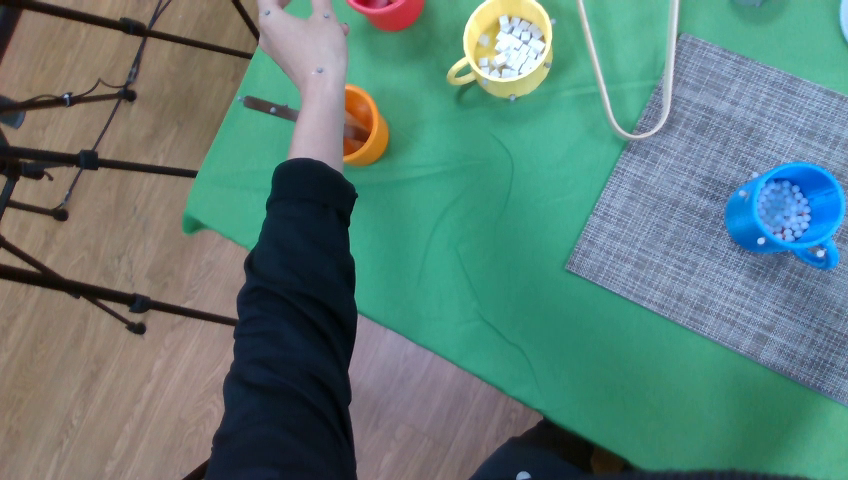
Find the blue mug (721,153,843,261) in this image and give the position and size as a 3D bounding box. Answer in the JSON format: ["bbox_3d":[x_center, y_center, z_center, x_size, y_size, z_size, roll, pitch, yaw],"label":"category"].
[{"bbox_3d":[0.372,-0.026,0.619,0.082,0.106,0.116,-39,81,8],"label":"blue mug"}]

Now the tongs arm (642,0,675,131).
[{"bbox_3d":[0.266,-0.318,0.673,0.028,0.028,0.388,1,95,4],"label":"tongs arm"}]

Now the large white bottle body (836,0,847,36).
[{"bbox_3d":[0.493,-0.262,0.564,0.130,0.185,0.130,-1,87,12],"label":"large white bottle body"}]

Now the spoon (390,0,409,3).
[{"bbox_3d":[-0.096,-0.316,0.711,0.195,0.021,0.041,2,86,-32],"label":"spoon"}]

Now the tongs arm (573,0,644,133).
[{"bbox_3d":[0.183,-0.307,0.686,0.051,0.026,0.385,-13,93,8],"label":"tongs arm"}]

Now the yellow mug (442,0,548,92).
[{"bbox_3d":[0.080,-0.224,0.711,0.131,0.064,0.099,-26,83,11],"label":"yellow mug"}]

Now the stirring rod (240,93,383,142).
[{"bbox_3d":[-0.128,-0.143,0.714,0.177,0.006,0.014,11,83,-29],"label":"stirring rod"}]

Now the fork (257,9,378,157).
[{"bbox_3d":[-0.122,-0.179,0.708,0.028,0.018,0.209,-35,125,7],"label":"fork"}]
